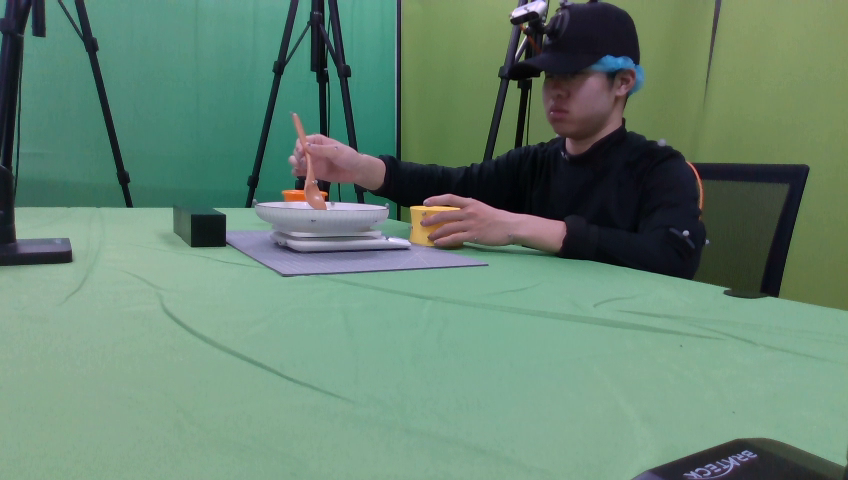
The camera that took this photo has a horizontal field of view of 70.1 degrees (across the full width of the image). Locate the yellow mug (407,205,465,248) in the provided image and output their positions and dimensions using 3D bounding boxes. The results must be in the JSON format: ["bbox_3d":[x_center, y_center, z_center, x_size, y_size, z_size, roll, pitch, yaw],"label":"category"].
[{"bbox_3d":[0.026,-0.027,1.104,0.099,0.064,0.131,7,8,20],"label":"yellow mug"}]

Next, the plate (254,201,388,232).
[{"bbox_3d":[-0.161,-0.038,0.961,0.209,0.038,0.209,2,6,0],"label":"plate"}]

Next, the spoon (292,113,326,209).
[{"bbox_3d":[-0.195,-0.133,1.014,0.021,0.193,0.042,-27,-24,32],"label":"spoon"}]

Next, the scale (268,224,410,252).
[{"bbox_3d":[-0.137,-0.006,0.980,0.202,0.031,0.148,-1,8,-30],"label":"scale"}]
